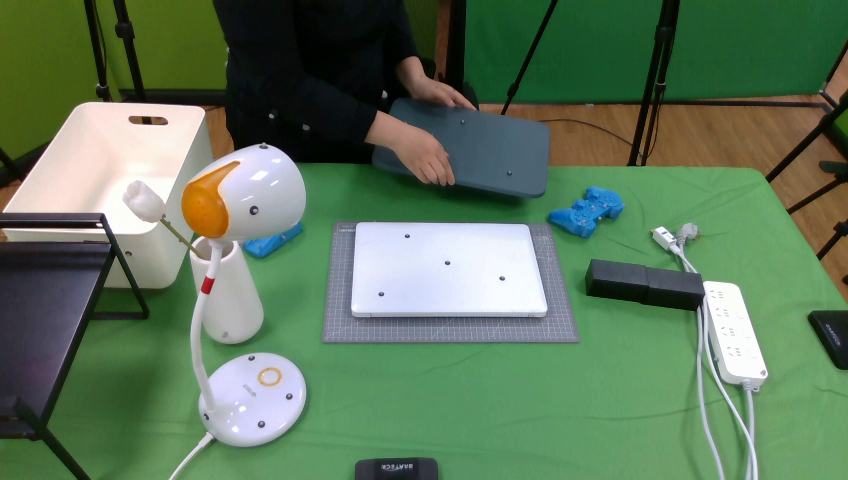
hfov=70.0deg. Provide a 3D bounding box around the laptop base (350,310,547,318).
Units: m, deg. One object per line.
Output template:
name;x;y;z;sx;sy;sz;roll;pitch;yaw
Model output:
laptop base;0.041;0.056;1.149;0.355;0.023;0.234;0;43;-4

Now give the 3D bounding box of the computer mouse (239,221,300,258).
computer mouse;-0.300;-0.016;1.178;0.062;0.041;0.117;35;57;22

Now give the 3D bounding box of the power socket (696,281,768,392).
power socket;0.543;0.161;1.077;0.072;0.033;0.225;5;46;2

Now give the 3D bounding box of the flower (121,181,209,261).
flower;-0.329;0.029;0.905;0.038;0.364;0.044;-21;58;-1

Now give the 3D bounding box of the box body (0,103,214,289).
box body;-0.563;-0.087;1.140;0.254;0.161;0.361;2;46;-3

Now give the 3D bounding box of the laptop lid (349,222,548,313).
laptop lid;0.042;0.046;1.142;0.357;0.013;0.240;2;44;-3

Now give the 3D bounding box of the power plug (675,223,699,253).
power plug;0.537;0.000;1.243;0.053;0.035;0.072;19;81;-17

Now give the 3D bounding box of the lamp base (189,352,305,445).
lamp base;-0.268;0.196;0.876;0.160;0.181;0.179;25;52;20

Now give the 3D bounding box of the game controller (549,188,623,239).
game controller;0.345;-0.065;1.272;0.155;0.052;0.096;-31;58;-29

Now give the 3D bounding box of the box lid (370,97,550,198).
box lid;0.088;-0.206;1.311;0.371;0.015;0.262;11;46;3

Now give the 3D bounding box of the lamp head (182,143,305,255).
lamp head;-0.216;-0.044;0.697;0.112;0.113;0.123;23;31;17

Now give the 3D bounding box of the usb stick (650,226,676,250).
usb stick;0.485;-0.008;1.238;0.021;0.027;0.059;-22;44;-13

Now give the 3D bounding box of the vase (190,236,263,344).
vase;-0.317;0.081;0.971;0.098;0.201;0.097;3;47;-3
